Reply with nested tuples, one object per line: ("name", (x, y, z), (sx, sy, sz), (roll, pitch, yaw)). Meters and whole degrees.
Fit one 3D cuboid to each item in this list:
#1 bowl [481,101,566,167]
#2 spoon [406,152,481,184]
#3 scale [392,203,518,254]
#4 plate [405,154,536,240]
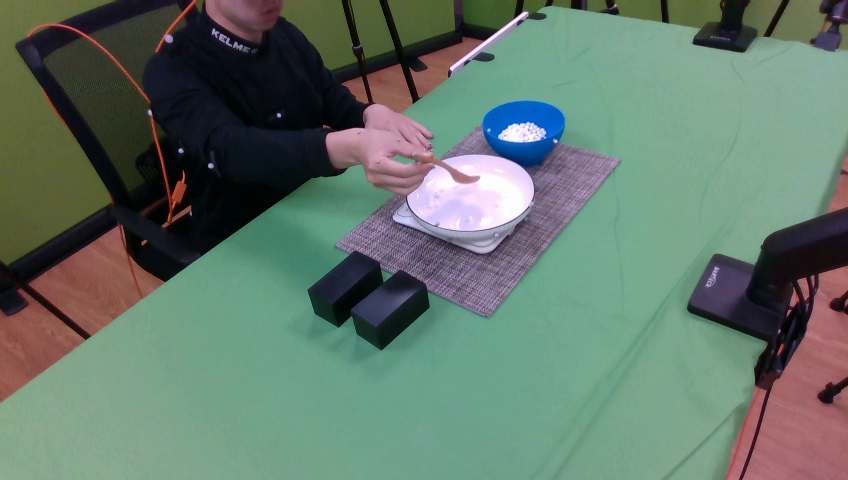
("bowl", (0.182, -0.186, 1.111), (0.151, 0.077, 0.150), (-4, 40, 4))
("spoon", (0.029, -0.107, 0.893), (0.041, 0.195, 0.021), (0, 82, 33))
("scale", (0.061, -0.051, 1.006), (0.199, 0.032, 0.149), (22, 48, 30))
("plate", (0.075, -0.067, 0.973), (0.209, 0.038, 0.208), (-4, 41, 4))
